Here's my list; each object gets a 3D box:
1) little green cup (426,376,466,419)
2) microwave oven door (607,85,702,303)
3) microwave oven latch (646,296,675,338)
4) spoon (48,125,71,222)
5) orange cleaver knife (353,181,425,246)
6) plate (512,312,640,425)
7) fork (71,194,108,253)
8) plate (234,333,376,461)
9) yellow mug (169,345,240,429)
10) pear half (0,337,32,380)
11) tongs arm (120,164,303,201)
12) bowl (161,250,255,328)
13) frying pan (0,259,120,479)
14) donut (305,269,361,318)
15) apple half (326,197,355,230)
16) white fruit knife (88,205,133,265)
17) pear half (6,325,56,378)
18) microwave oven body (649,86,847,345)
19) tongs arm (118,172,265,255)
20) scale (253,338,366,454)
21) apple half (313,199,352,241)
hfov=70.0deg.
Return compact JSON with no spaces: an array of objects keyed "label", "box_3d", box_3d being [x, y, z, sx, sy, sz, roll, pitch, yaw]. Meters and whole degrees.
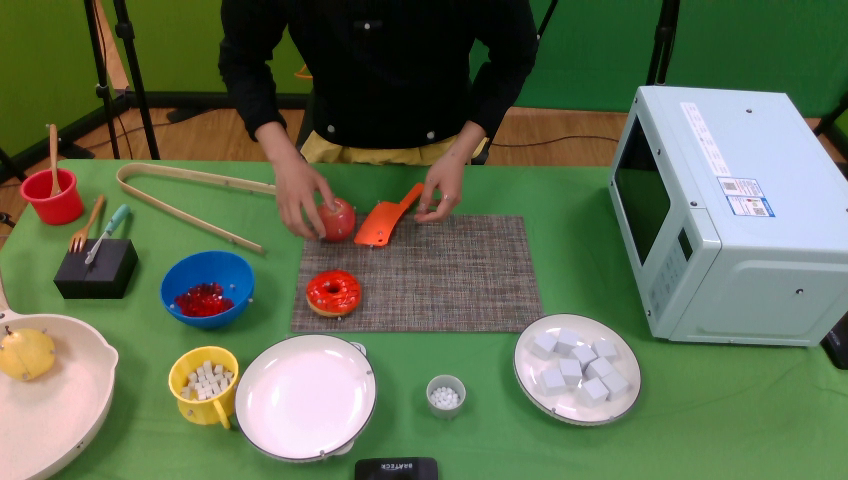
[{"label":"little green cup","box_3d":[0.033,0.248,0.950,0.061,0.039,0.061,2,46,-2]},{"label":"microwave oven door","box_3d":[0.423,-0.094,1.140,0.039,0.245,0.353,2,46,-1]},{"label":"microwave oven latch","box_3d":[0.412,0.134,1.061,0.030,0.029,0.078,4,45,1]},{"label":"spoon","box_3d":[-0.718,-0.131,1.188,0.041,0.021,0.193,-3,90,-6]},{"label":"orange cleaver knife","box_3d":[-0.069,-0.059,1.245,0.077,0.012,0.210,18,50,22]},{"label":"plate","box_3d":[0.246,0.213,0.999,0.208,0.039,0.206,2,46,-2]},{"label":"fork","box_3d":[-0.634,-0.036,1.158,0.028,0.019,0.206,-8,32,-8]},{"label":"plate","box_3d":[-0.174,0.235,0.907,0.209,0.038,0.208,2,46,-2]},{"label":"yellow mug","box_3d":[-0.322,0.231,0.922,0.100,0.064,0.130,-24,53,-25]},{"label":"pear half","box_3d":[-0.631,0.184,0.921,0.070,0.088,0.031,29,49,19]},{"label":"tongs arm","box_3d":[-0.444,-0.114,1.267,0.384,0.026,0.050,12,51,7]},{"label":"bowl","box_3d":[-0.362,0.098,1.039,0.151,0.077,0.150,2,45,-2]},{"label":"frying pan","box_3d":[-0.647,0.164,0.936,0.307,0.103,0.485,-19,58,-22]},{"label":"donut","box_3d":[-0.161,0.094,1.075,0.099,0.048,0.098,4,45,-3]},{"label":"apple half","box_3d":[-0.159,-0.054,1.196,0.081,0.082,0.033,35,58,26]},{"label":"white fruit knife","box_3d":[-0.584,-0.013,1.129,0.016,0.027,0.206,0,31,-5]},{"label":"pear half","box_3d":[-0.608,0.158,0.935,0.076,0.110,0.056,31,51,20]},{"label":"microwave oven body","box_3d":[0.568,-0.053,1.118,0.326,0.261,0.439,2,45,-1]},{"label":"tongs arm","box_3d":[-0.473,-0.053,1.212,0.386,0.028,0.028,24,57,17]},{"label":"scale","box_3d":[-0.175,0.236,0.951,0.149,0.032,0.199,4,46,0]},{"label":"apple half","box_3d":[-0.185,-0.033,1.176,0.080,0.075,0.053,35,56,23]}]
